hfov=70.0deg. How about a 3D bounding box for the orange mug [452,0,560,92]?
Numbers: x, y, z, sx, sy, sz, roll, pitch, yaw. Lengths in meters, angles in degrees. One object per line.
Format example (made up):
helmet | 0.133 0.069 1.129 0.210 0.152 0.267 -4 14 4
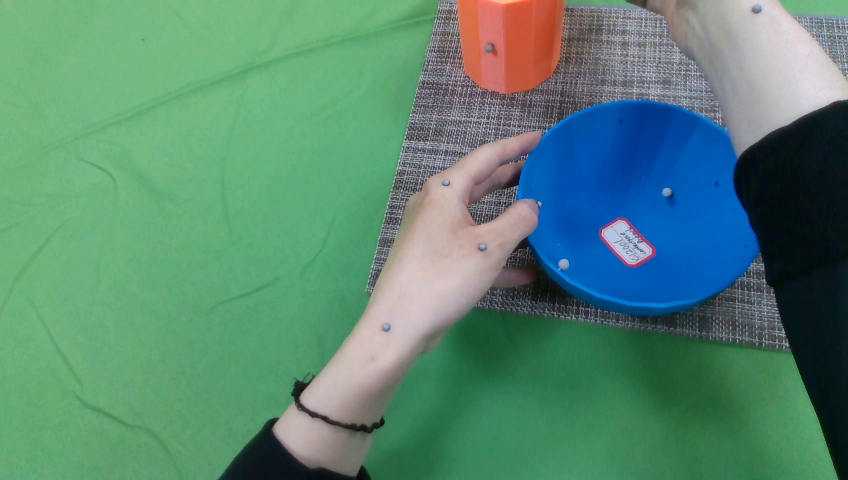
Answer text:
orange mug | 0.073 -0.202 0.501 0.083 0.101 0.125 19 71 16

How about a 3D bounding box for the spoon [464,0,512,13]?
spoon | 0.105 -0.214 0.433 0.193 0.022 0.041 -21 41 44

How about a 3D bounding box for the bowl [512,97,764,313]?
bowl | 0.135 -0.012 0.409 0.151 0.077 0.150 -3 63 6
